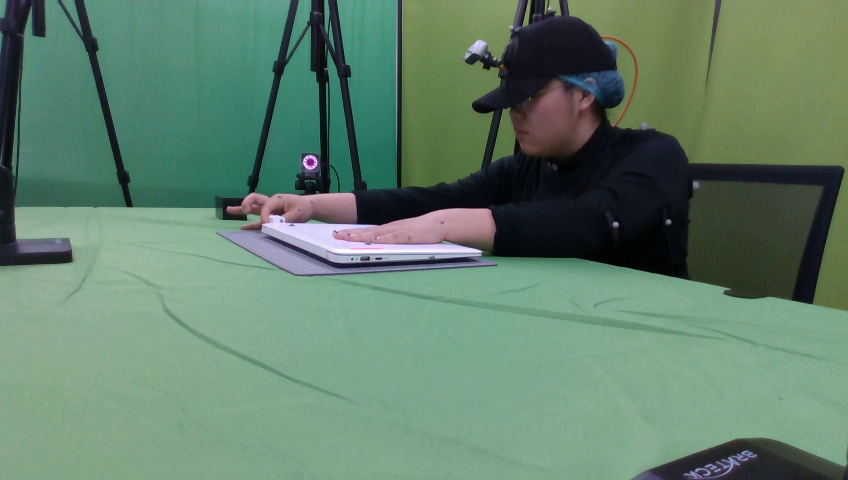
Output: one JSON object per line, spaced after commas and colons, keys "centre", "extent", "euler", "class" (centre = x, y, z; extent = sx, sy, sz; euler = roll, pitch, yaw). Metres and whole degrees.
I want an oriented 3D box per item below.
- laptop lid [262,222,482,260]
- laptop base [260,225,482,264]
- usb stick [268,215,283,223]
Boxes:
{"centre": [-0.099, -0.002, 0.965], "extent": [0.243, 0.013, 0.355], "euler": [2, 7, -29], "class": "laptop lid"}
{"centre": [-0.101, 0.007, 0.965], "extent": [0.237, 0.023, 0.352], "euler": [3, 6, -31], "class": "laptop base"}
{"centre": [-0.266, -0.029, 1.088], "extent": [0.021, 0.027, 0.059], "euler": [-6, 14, -23], "class": "usb stick"}
